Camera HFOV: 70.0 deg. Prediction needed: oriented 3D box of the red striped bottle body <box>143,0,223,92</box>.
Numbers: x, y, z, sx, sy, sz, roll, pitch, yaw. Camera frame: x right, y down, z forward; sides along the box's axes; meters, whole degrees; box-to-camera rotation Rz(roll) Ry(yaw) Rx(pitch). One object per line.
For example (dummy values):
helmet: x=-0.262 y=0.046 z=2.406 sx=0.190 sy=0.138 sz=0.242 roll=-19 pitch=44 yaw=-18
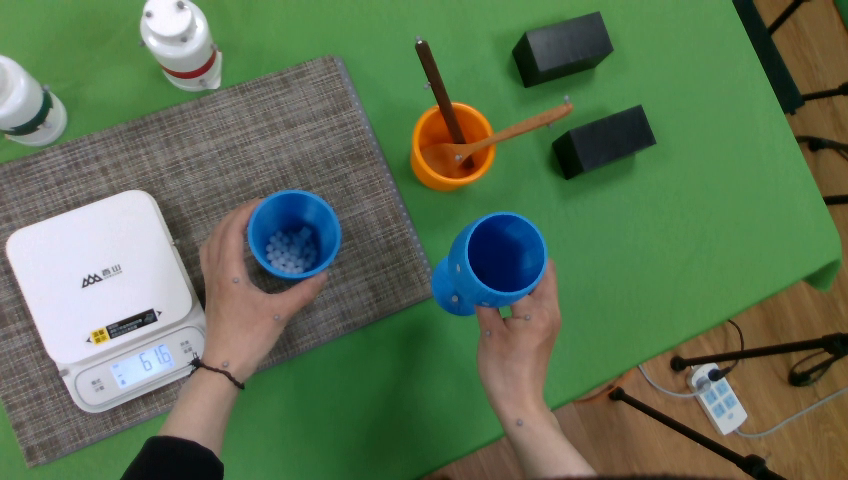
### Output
red striped bottle body: x=-0.247 y=-0.202 z=0.622 sx=0.063 sy=0.119 sz=0.063 roll=1 pitch=83 yaw=-10

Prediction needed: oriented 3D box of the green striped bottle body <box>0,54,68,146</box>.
green striped bottle body: x=-0.400 y=-0.137 z=0.586 sx=0.063 sy=0.119 sz=0.063 roll=1 pitch=83 yaw=-10

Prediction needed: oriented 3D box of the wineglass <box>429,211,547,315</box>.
wineglass: x=0.048 y=0.026 z=0.518 sx=0.074 sy=0.172 sz=0.073 roll=1 pitch=78 yaw=-7

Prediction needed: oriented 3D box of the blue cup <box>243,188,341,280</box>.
blue cup: x=-0.132 y=0.002 z=0.610 sx=0.093 sy=0.100 sz=0.092 roll=3 pitch=79 yaw=-14

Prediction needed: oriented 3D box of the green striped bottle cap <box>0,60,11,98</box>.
green striped bottle cap: x=-0.391 y=-0.144 z=0.532 sx=0.044 sy=0.020 sz=0.044 roll=1 pitch=84 yaw=-9

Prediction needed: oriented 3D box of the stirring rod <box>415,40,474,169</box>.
stirring rod: x=0.025 y=-0.138 z=0.649 sx=0.014 sy=0.178 sz=0.005 roll=-8 pitch=51 yaw=18

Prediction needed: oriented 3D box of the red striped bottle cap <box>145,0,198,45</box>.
red striped bottle cap: x=-0.237 y=-0.208 z=0.570 sx=0.044 sy=0.018 sz=0.044 roll=1 pitch=81 yaw=-9

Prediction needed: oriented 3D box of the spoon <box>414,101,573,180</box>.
spoon: x=0.070 y=-0.108 z=0.656 sx=0.021 sy=0.193 sz=0.042 roll=-29 pitch=100 yaw=-55

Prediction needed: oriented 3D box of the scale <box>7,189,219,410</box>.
scale: x=-0.315 y=0.059 z=0.622 sx=0.149 sy=0.031 sz=0.200 roll=-23 pitch=89 yaw=-12
